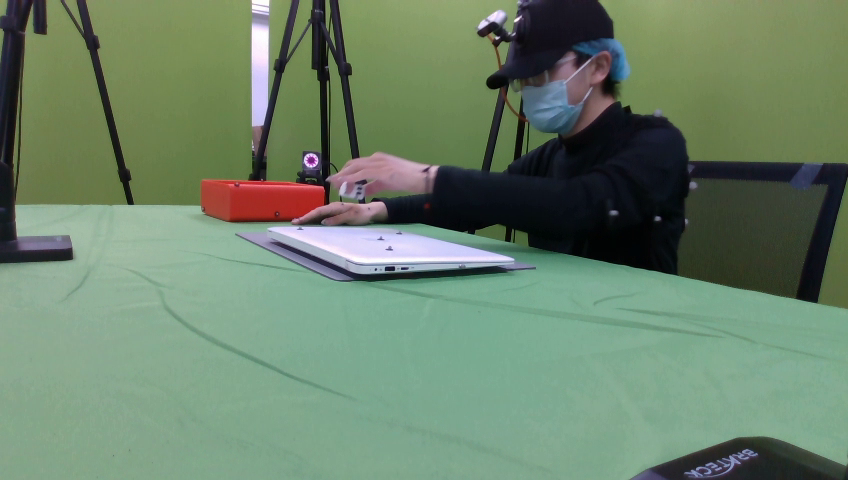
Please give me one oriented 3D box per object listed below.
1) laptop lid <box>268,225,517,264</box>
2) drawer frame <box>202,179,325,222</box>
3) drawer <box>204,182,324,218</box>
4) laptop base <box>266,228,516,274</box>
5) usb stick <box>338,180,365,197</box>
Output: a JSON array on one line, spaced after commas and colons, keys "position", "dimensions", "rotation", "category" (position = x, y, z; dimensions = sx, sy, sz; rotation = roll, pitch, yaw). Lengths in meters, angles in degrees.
[{"position": [-0.063, 0.002, 0.877], "dimensions": [0.243, 0.013, 0.355], "rotation": [1, 7, -30], "category": "laptop lid"}, {"position": [-0.361, -0.092, 1.356], "dimensions": [0.215, 0.082, 0.200], "rotation": [-4, 10, -37], "category": "drawer frame"}, {"position": [-0.360, -0.092, 1.358], "dimensions": [0.213, 0.073, 0.193], "rotation": [-3, 10, -36], "category": "drawer"}, {"position": [-0.066, 0.014, 0.877], "dimensions": [0.237, 0.023, 0.352], "rotation": [2, 6, -32], "category": "laptop base"}, {"position": [-0.132, -0.093, 1.082], "dimensions": [0.059, 0.027, 0.021], "rotation": [10, 6, 43], "category": "usb stick"}]
